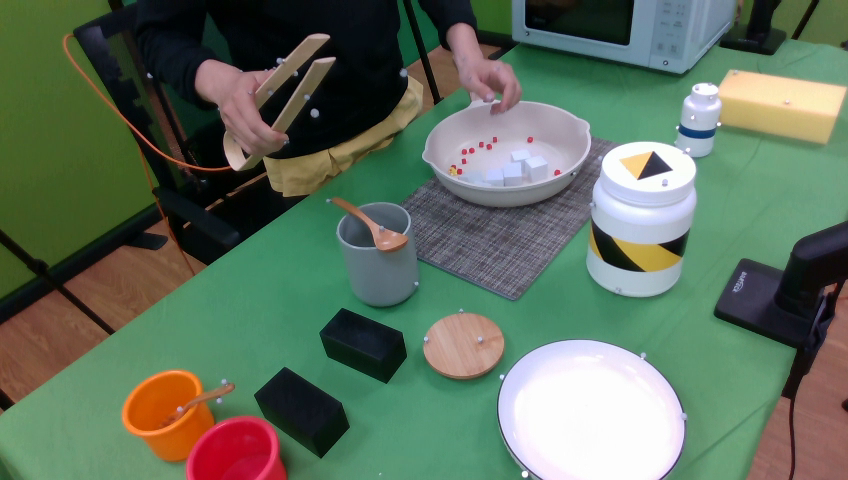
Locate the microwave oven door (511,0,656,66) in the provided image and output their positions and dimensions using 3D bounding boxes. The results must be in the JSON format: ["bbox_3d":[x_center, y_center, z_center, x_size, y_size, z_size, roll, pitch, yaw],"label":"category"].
[{"bbox_3d":[0.351,-0.539,1.349,0.353,0.245,0.039,24,50,31],"label":"microwave oven door"}]

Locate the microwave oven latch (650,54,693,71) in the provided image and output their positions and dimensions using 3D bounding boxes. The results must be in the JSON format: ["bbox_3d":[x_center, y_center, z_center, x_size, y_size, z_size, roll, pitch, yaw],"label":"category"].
[{"bbox_3d":[0.531,-0.386,1.301,0.078,0.029,0.030,26,51,33],"label":"microwave oven latch"}]

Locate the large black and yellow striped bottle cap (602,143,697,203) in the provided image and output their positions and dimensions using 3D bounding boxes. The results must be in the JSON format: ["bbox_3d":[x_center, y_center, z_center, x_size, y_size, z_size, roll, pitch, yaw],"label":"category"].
[{"bbox_3d":[0.289,-0.088,0.779,0.115,0.019,0.114,-5,40,4],"label":"large black and yellow striped bottle cap"}]

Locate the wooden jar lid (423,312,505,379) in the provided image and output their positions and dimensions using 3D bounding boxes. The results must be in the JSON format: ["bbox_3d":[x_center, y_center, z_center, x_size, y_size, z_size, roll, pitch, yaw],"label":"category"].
[{"bbox_3d":[0.053,0.142,0.800,0.108,0.021,0.108,-5,39,4],"label":"wooden jar lid"}]

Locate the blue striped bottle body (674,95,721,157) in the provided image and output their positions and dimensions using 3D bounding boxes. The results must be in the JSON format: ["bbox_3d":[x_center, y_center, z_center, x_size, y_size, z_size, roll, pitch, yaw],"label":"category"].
[{"bbox_3d":[0.486,-0.213,1.071,0.063,0.121,0.063,-4,41,4],"label":"blue striped bottle body"}]

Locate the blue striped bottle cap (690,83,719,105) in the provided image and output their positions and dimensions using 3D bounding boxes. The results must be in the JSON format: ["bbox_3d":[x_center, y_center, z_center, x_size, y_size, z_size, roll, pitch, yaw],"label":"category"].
[{"bbox_3d":[0.481,-0.251,1.038,0.044,0.021,0.044,-5,39,4],"label":"blue striped bottle cap"}]

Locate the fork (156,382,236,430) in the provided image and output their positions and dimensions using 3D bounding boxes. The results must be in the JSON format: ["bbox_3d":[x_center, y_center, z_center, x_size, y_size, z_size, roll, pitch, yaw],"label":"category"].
[{"bbox_3d":[-0.262,0.189,0.690,0.018,0.206,0.028,49,43,-7],"label":"fork"}]

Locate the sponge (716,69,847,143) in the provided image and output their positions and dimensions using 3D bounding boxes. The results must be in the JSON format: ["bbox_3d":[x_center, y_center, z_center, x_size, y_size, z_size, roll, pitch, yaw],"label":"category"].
[{"bbox_3d":[0.663,-0.256,1.142,0.205,0.061,0.118,19,47,28],"label":"sponge"}]

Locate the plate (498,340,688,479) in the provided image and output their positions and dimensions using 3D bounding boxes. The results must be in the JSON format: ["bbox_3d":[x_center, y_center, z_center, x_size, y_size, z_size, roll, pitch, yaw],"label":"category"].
[{"bbox_3d":[0.189,0.206,0.692,0.207,0.039,0.206,-4,40,4],"label":"plate"}]

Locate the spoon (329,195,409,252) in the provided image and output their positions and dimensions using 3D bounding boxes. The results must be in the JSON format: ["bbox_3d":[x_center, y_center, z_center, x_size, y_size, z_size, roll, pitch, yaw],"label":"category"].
[{"bbox_3d":[-0.082,-0.029,0.828,0.042,0.022,0.192,-33,43,-20],"label":"spoon"}]

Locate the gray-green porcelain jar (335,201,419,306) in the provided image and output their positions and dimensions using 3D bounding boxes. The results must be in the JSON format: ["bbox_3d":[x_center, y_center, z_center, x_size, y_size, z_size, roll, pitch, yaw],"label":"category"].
[{"bbox_3d":[-0.064,0.024,0.872,0.106,0.127,0.105,-4,41,4],"label":"gray-green porcelain jar"}]

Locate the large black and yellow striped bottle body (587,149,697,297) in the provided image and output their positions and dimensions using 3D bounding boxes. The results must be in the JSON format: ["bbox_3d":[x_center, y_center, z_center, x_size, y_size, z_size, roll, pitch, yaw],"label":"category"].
[{"bbox_3d":[0.298,-0.026,0.835,0.131,0.185,0.130,-4,41,4],"label":"large black and yellow striped bottle body"}]

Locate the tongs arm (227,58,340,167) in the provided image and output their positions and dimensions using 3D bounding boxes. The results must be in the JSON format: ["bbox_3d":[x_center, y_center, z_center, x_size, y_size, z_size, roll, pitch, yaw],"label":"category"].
[{"bbox_3d":[-0.191,-0.150,0.769,0.028,0.028,0.385,-26,4,-32],"label":"tongs arm"}]

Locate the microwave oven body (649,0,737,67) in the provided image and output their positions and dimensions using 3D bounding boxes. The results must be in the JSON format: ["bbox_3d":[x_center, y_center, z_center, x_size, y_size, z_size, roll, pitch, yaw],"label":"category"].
[{"bbox_3d":[0.475,-0.602,1.411,0.438,0.261,0.327,23,50,32],"label":"microwave oven body"}]

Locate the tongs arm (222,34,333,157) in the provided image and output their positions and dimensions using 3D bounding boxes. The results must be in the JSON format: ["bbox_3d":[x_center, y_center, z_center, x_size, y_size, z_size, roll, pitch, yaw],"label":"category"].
[{"bbox_3d":[-0.198,-0.168,0.768,0.027,0.051,0.382,-22,8,-32],"label":"tongs arm"}]

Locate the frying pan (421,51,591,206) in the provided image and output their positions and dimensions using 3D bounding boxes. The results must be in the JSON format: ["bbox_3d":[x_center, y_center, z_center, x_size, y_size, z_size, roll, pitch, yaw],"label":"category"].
[{"bbox_3d":[0.127,-0.233,1.155,0.307,0.103,0.484,-11,49,-5],"label":"frying pan"}]
